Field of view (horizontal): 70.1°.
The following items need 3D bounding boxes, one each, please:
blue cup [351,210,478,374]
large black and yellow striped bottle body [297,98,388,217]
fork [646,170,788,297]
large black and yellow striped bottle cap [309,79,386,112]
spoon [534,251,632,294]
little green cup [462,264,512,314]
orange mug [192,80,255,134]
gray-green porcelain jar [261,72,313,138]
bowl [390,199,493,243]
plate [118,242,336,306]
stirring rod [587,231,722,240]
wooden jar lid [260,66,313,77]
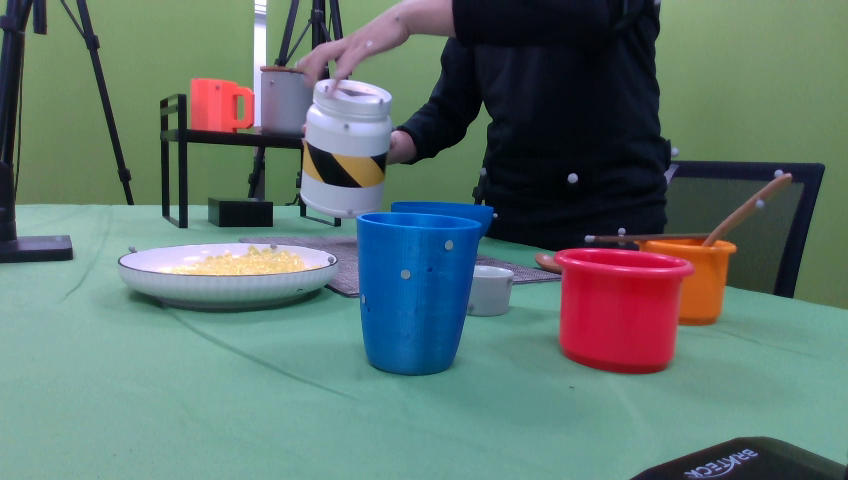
[{"bbox_3d":[-0.009,0.034,0.414,0.093,0.100,0.092,4,8,0],"label":"blue cup"},{"bbox_3d":[-0.127,-0.144,0.941,0.131,0.184,0.130,8,28,-4],"label":"large black and yellow striped bottle body"},{"bbox_3d":[0.256,0.004,0.543,0.028,0.018,0.207,3,-36,-9],"label":"fork"},{"bbox_3d":[-0.114,-0.217,0.902,0.115,0.019,0.115,9,26,-4],"label":"large black and yellow striped bottle cap"},{"bbox_3d":[0.193,0.038,0.753,0.042,0.021,0.193,14,2,-20],"label":"spoon"},{"bbox_3d":[0.053,0.047,0.580,0.061,0.038,0.061,3,8,0],"label":"little green cup"},{"bbox_3d":[-0.389,-0.257,1.172,0.126,0.100,0.083,-1,7,9],"label":"orange mug"},{"bbox_3d":[-0.284,-0.276,1.253,0.106,0.126,0.106,2,8,0],"label":"gray-green porcelain jar"},{"bbox_3d":[0.023,-0.016,0.874,0.151,0.077,0.151,3,7,0],"label":"bowl"},{"bbox_3d":[-0.194,0.033,0.615,0.209,0.038,0.209,2,7,0],"label":"plate"},{"bbox_3d":[0.227,-0.005,0.586,0.177,0.006,0.014,-1,6,-29],"label":"stirring rod"},{"bbox_3d":[-0.283,-0.339,1.245,0.108,0.020,0.108,5,9,0],"label":"wooden jar lid"}]
